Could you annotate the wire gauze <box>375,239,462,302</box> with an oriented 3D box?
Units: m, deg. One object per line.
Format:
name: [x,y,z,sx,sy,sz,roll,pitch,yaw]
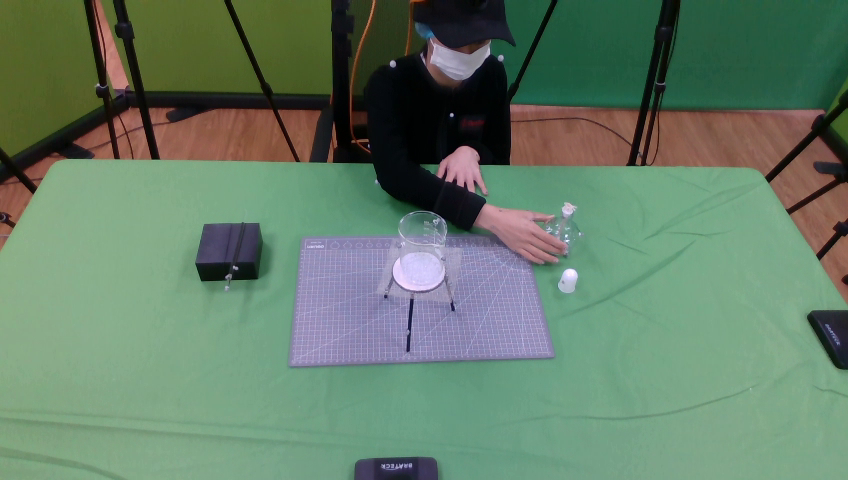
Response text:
wire gauze: [-0.006,0.049,0.978,0.121,0.011,0.124,10,44,5]

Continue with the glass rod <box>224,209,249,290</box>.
glass rod: [-0.340,0.013,1.102,0.008,0.008,0.198,2,45,-3]

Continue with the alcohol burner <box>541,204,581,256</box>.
alcohol burner: [0.271,-0.026,1.183,0.078,0.119,0.077,3,46,-3]

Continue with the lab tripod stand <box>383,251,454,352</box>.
lab tripod stand: [-0.015,0.094,1.025,0.148,0.132,0.147,1,46,-1]

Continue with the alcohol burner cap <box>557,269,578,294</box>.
alcohol burner cap: [0.270,0.074,1.135,0.034,0.048,0.033,3,46,-2]

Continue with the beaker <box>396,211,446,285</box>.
beaker: [-0.002,0.017,0.941,0.083,0.101,0.074,36,54,29]
